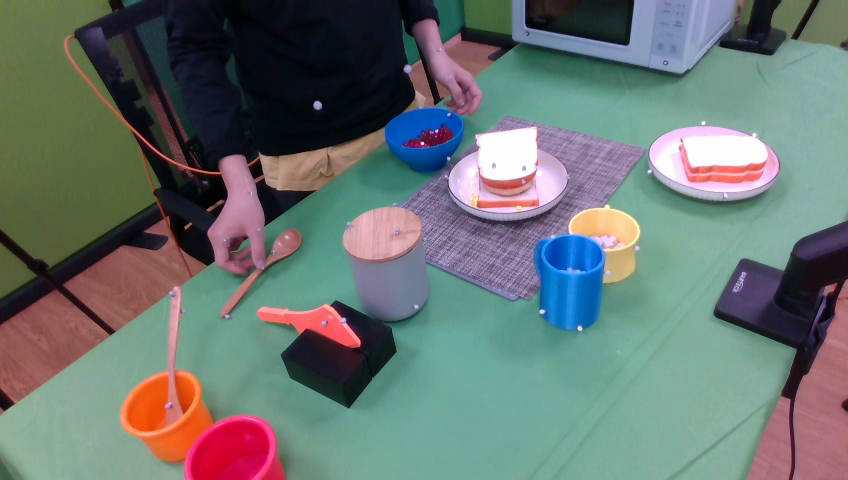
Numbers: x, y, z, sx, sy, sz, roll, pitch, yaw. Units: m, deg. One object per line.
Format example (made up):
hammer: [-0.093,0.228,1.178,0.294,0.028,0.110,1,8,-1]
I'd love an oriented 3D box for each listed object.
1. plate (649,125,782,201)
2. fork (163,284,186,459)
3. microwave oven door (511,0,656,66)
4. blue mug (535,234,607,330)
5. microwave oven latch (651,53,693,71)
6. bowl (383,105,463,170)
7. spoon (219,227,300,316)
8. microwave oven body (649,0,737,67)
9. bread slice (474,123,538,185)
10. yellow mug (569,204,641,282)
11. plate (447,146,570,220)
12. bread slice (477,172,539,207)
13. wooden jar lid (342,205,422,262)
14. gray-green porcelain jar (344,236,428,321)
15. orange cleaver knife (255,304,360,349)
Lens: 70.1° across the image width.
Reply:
plate: [0.493,-0.128,1.036,0.207,0.039,0.206,-4,41,4]
fork: [-0.302,0.157,0.733,0.028,0.019,0.207,-3,84,15]
microwave oven door: [0.351,-0.539,1.349,0.353,0.245,0.039,24,50,31]
blue mug: [0.190,0.048,0.824,0.082,0.106,0.115,-26,44,-21]
microwave oven latch: [0.532,-0.386,1.301,0.078,0.029,0.030,27,52,34]
bowl: [0.002,-0.185,1.143,0.151,0.077,0.150,-4,41,4]
spoon: [-0.260,0.046,0.953,0.041,0.021,0.194,27,49,10]
microwave oven body: [0.475,-0.602,1.411,0.438,0.261,0.327,23,50,32]
bread slice: [0.141,-0.144,1.008,0.107,0.018,0.133,-8,47,9]
yellow mug: [0.268,-0.005,0.904,0.099,0.064,0.130,7,41,15]
plate: [0.145,-0.098,1.046,0.209,0.038,0.208,-4,40,4]
bread slice: [0.144,-0.104,1.058,0.105,0.019,0.131,-1,43,6]
wooden jar lid: [-0.055,-0.006,0.808,0.108,0.021,0.108,-6,40,6]
gray-green porcelain jar: [-0.049,0.042,0.849,0.106,0.127,0.105,-4,41,4]
orange cleaver knife: [-0.161,0.115,0.813,0.210,0.077,0.012,-5,32,47]
